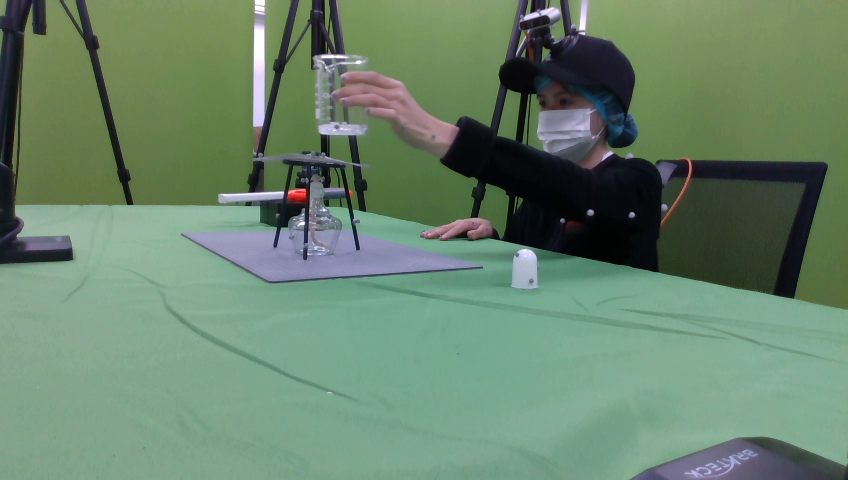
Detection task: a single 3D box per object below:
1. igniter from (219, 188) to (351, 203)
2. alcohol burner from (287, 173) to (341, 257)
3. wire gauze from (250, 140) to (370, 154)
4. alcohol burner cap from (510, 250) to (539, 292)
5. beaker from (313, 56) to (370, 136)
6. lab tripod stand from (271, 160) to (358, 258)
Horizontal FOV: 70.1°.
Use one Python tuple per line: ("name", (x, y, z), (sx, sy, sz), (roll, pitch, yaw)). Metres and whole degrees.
("igniter", (-0.280, -0.092, 1.254), (0.278, 0.025, 0.057), (-6, 10, -34))
("alcohol burner", (-0.158, -0.037, 0.868), (0.078, 0.119, 0.078), (1, 6, 0))
("wire gauze", (-0.163, -0.131, 0.867), (0.124, 0.011, 0.122), (-1, 8, 32))
("alcohol burner cap", (0.118, 0.035, 0.704), (0.034, 0.048, 0.034), (0, 7, 0))
("beaker", (-0.114, -0.191, 0.815), (0.074, 0.100, 0.083), (-6, 12, -35))
("lab tripod stand", (-0.160, -0.048, 0.876), (0.148, 0.131, 0.148), (3, 5, 0))
